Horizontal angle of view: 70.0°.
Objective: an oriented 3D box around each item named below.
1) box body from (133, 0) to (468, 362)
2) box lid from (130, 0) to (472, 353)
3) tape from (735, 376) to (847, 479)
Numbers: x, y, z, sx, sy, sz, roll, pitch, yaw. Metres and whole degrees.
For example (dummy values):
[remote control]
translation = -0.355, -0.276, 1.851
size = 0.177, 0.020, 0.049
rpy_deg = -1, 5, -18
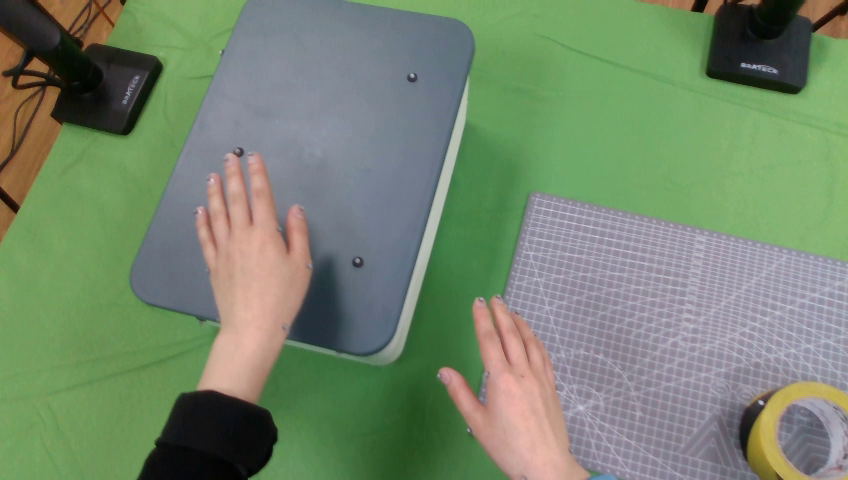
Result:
[box body]
translation = -0.110, -0.065, 0.677
size = 0.254, 0.161, 0.362
rpy_deg = 12, 73, 7
[box lid]
translation = -0.113, -0.091, 0.607
size = 0.263, 0.015, 0.369
rpy_deg = 12, 74, 8
[tape]
translation = 0.385, 0.198, 0.614
size = 0.117, 0.053, 0.116
rpy_deg = -1, 71, 4
